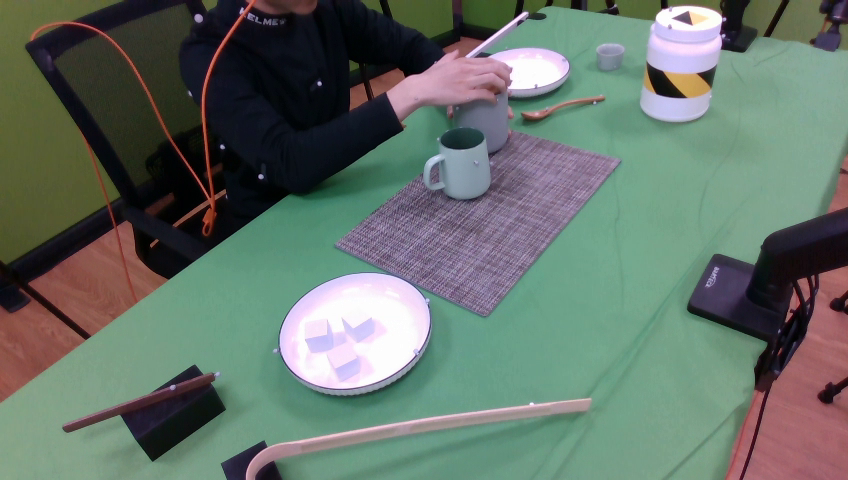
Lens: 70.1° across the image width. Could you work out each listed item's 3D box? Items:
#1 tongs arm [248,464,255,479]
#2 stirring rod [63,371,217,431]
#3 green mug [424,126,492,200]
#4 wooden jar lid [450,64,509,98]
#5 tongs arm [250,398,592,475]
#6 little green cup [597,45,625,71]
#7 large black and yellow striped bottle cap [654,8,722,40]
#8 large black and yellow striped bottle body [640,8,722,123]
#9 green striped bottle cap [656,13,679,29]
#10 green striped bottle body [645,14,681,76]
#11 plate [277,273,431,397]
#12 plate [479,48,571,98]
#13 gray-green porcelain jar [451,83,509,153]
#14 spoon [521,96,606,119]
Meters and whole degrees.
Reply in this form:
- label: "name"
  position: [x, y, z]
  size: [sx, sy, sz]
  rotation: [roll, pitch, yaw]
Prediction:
- label: "tongs arm"
  position: [0.012, 0.262, 0.615]
  size: [0.385, 0.026, 0.050]
  rotation: [2, 41, -2]
- label: "stirring rod"
  position: [-0.337, 0.192, 0.723]
  size: [0.177, 0.014, 0.005]
  rotation: [-18, 43, -12]
- label: "green mug"
  position: [0.055, -0.125, 1.039]
  size: [0.126, 0.105, 0.091]
  rotation: [-26, 45, -19]
- label: "wooden jar lid"
  position: [0.102, -0.284, 1.099]
  size: [0.108, 0.021, 0.108]
  rotation: [-9, 42, 9]
- label: "tongs arm"
  position: [0.008, 0.212, 0.675]
  size: [0.389, 0.028, 0.028]
  rotation: [-5, 46, -11]
- label: "little green cup"
  position: [0.423, -0.413, 1.375]
  size: [0.061, 0.039, 0.061]
  rotation: [-3, 41, 3]
- label: "large black and yellow striped bottle cap"
  position: [0.483, -0.397, 1.108]
  size: [0.115, 0.019, 0.114]
  rotation: [-3, 41, 3]
- label: "large black and yellow striped bottle body"
  position: [0.493, -0.334, 1.161]
  size: [0.131, 0.185, 0.130]
  rotation: [-4, 41, 4]
- label: "green striped bottle cap"
  position: [0.515, -0.463, 1.278]
  size: [0.044, 0.020, 0.044]
  rotation: [-6, 42, 6]
- label: "green striped bottle body"
  position: [0.520, -0.424, 1.312]
  size: [0.063, 0.120, 0.063]
  rotation: [-4, 40, 4]
- label: "plate"
  position: [-0.091, 0.129, 0.821]
  size: [0.207, 0.039, 0.206]
  rotation: [-4, 40, 4]
- label: "plate"
  position: [0.223, -0.371, 1.357]
  size: [0.209, 0.038, 0.208]
  rotation: [-4, 41, 4]
- label: "gray-green porcelain jar"
  position: [0.107, -0.235, 1.141]
  size: [0.106, 0.127, 0.105]
  rotation: [-4, 41, 4]
- label: "spoon"
  position: [0.291, -0.277, 1.249]
  size: [0.194, 0.022, 0.041]
  rotation: [-17, 24, -11]
